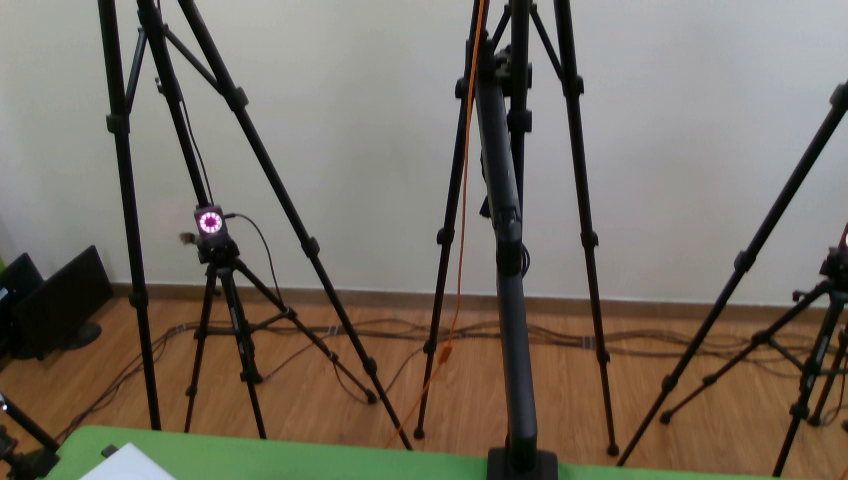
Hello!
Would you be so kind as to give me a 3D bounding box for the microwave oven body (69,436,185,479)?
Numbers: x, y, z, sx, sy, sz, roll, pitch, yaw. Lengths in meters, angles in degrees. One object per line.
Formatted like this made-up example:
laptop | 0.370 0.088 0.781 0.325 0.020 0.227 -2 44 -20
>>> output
microwave oven body | -0.412 0.508 0.687 0.323 0.262 0.441 19 40 31
